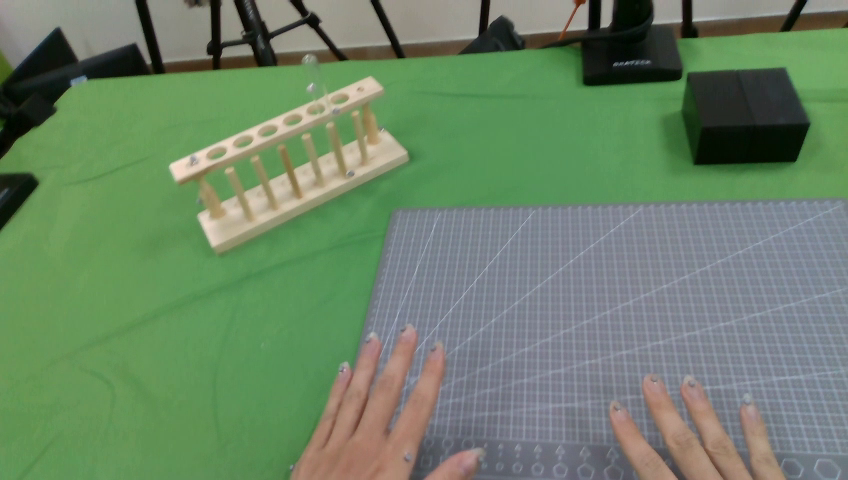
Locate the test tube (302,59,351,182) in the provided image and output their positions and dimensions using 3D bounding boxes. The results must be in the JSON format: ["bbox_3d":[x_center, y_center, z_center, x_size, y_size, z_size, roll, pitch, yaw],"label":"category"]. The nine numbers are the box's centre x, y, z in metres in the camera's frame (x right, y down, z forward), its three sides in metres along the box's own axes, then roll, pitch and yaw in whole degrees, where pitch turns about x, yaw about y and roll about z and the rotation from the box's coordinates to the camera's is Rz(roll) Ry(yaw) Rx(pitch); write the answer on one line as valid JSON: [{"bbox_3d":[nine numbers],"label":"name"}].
[{"bbox_3d":[-0.103,-0.125,0.651,0.017,0.152,0.017,-6,43,6],"label":"test tube"}]

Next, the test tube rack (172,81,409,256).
[{"bbox_3d":[-0.143,-0.084,0.683,0.242,0.086,0.066,-28,47,-15],"label":"test tube rack"}]
